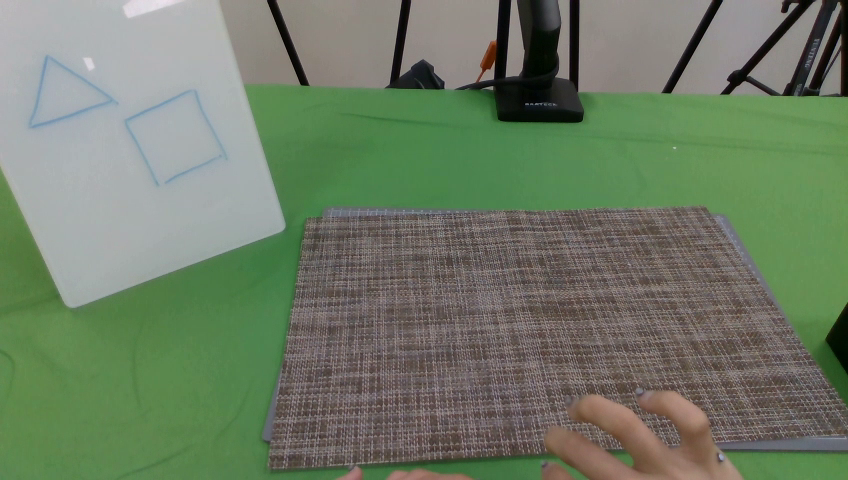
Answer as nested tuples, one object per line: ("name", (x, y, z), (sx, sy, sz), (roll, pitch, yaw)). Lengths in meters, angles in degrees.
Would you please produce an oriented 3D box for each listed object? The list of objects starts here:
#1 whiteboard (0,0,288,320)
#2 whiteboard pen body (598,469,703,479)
("whiteboard", (-0.297, -0.118, 0.597), (0.217, 0.307, 0.142), (-23, 25, -26))
("whiteboard pen body", (0.087, 0.146, 0.342), (0.141, 0.017, 0.017), (-8, 38, 2))
